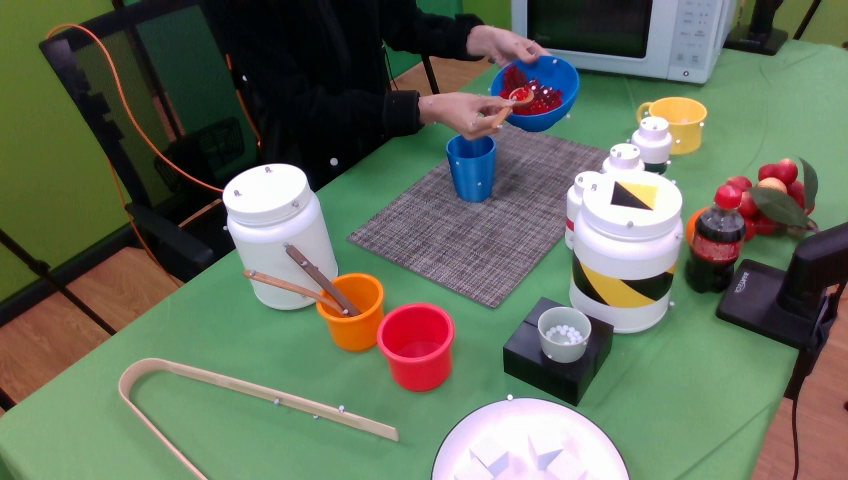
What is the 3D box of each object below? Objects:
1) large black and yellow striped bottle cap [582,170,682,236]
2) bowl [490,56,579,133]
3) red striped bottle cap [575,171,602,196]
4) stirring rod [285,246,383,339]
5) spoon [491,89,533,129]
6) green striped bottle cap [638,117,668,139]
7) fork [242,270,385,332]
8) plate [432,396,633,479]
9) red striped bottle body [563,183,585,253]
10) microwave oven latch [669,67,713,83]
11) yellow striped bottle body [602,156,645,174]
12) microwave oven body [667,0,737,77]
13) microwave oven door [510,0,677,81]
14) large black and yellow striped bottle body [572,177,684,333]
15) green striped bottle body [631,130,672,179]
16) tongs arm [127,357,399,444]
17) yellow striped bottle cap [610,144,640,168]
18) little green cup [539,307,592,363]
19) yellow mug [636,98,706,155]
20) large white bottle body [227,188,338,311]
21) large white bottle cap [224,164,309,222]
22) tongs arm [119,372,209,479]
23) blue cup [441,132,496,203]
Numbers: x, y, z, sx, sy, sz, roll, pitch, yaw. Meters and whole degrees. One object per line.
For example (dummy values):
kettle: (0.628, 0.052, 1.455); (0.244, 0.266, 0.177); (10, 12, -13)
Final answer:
large black and yellow striped bottle cap: (0.252, -0.048, 0.735); (0.115, 0.019, 0.114); (-3, 40, 3)
bowl: (0.194, -0.240, 1.051); (0.151, 0.077, 0.150); (-7, 54, 11)
red striped bottle cap: (0.242, -0.081, 0.876); (0.044, 0.018, 0.044); (-5, 44, 5)
stirring rod: (-0.121, 0.071, 0.819); (0.176, 0.006, 0.014); (44, 52, -6)
spoon: (0.137, -0.211, 0.966); (0.041, 0.021, 0.194); (17, 30, 16)
green striped bottle cap: (0.369, -0.180, 0.974); (0.044, 0.020, 0.044); (-4, 41, 4)
fork: (-0.142, 0.082, 0.802); (0.209, 0.018, 0.028); (28, 38, -26)
plate: (0.112, 0.261, 0.634); (0.209, 0.038, 0.208); (-5, 40, 4)
red striped bottle body: (0.246, -0.041, 0.910); (0.063, 0.120, 0.062); (-2, 38, 2)
microwave oven latch: (0.556, -0.348, 1.261); (0.078, 0.029, 0.030); (16, 46, 27)
yellow striped bottle body: (0.313, -0.089, 0.956); (0.063, 0.121, 0.062); (-5, 39, 4)
microwave oven body: (0.462, -0.552, 1.369); (0.439, 0.261, 0.326); (15, 45, 26)
microwave oven door: (0.354, -0.478, 1.290); (0.353, 0.245, 0.039); (15, 45, 25)
large black and yellow striped bottle body: (0.262, 0.017, 0.788); (0.131, 0.185, 0.130); (-5, 40, 4)
green striped bottle body: (0.375, -0.140, 1.007); (0.063, 0.120, 0.063); (-5, 40, 5)
tongs arm: (-0.213, 0.205, 0.755); (0.382, 0.026, 0.051); (12, 46, 23)
yellow striped bottle cap: (0.307, -0.128, 0.923); (0.044, 0.019, 0.044); (-5, 39, 5)
little green cup: (0.168, 0.115, 0.721); (0.061, 0.039, 0.061); (-4, 42, 4)
yellow mug: (0.453, -0.217, 1.128); (0.100, 0.064, 0.129); (-34, 46, -27)
large white bottle body: (-0.207, -0.002, 0.883); (0.130, 0.185, 0.130); (-4, 40, 4)
large white bottle cap: (-0.215, -0.066, 0.829); (0.115, 0.018, 0.114); (-4, 40, 4)
tongs arm: (-0.258, 0.257, 0.700); (0.384, 0.028, 0.028); (24, 55, 34)
blue cup: (0.083, -0.120, 1.039); (0.092, 0.100, 0.092); (-4, 41, 4)
